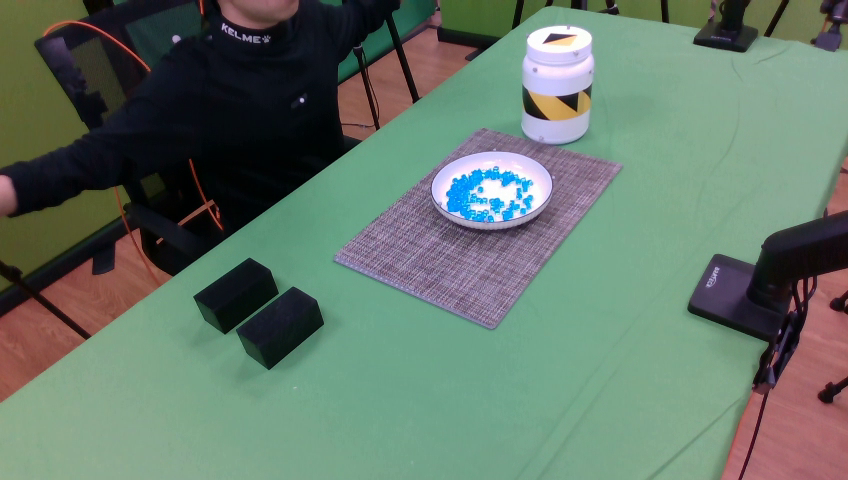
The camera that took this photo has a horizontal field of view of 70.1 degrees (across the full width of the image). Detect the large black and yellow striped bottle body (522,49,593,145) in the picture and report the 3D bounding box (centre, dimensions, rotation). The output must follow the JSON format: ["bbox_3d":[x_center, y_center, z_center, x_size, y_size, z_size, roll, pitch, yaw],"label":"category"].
[{"bbox_3d":[0.251,-0.289,1.146,0.131,0.185,0.130,-4,40,4],"label":"large black and yellow striped bottle body"}]

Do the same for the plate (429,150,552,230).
[{"bbox_3d":[0.113,-0.082,1.032,0.207,0.039,0.206,-4,41,4],"label":"plate"}]

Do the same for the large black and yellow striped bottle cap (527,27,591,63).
[{"bbox_3d":[0.243,-0.353,1.092,0.115,0.019,0.114,-4,42,4],"label":"large black and yellow striped bottle cap"}]
